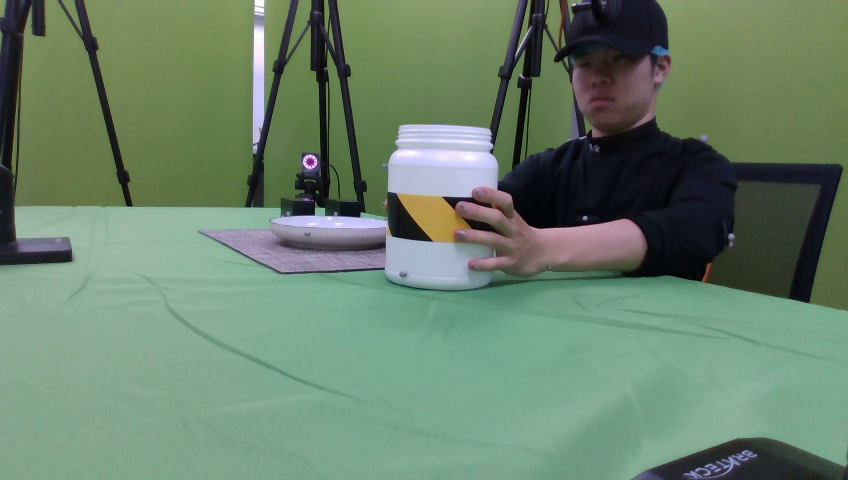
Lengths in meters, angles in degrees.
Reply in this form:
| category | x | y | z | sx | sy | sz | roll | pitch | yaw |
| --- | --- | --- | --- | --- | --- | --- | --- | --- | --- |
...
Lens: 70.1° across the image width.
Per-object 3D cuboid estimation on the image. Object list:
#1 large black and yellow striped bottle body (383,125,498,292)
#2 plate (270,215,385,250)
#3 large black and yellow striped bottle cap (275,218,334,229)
| category | x | y | z | sx | sy | sz | roll | pitch | yaw |
| --- | --- | --- | --- | --- | --- | --- | --- | --- | --- |
| large black and yellow striped bottle body | 0.019 | -0.040 | 0.716 | 0.131 | 0.184 | 0.130 | 3 | 7 | 0 |
| plate | -0.146 | -0.013 | 0.992 | 0.208 | 0.039 | 0.207 | 2 | 7 | 0 |
| large black and yellow striped bottle cap | -0.236 | -0.033 | 1.197 | 0.115 | 0.019 | 0.115 | 2 | 3 | 0 |
